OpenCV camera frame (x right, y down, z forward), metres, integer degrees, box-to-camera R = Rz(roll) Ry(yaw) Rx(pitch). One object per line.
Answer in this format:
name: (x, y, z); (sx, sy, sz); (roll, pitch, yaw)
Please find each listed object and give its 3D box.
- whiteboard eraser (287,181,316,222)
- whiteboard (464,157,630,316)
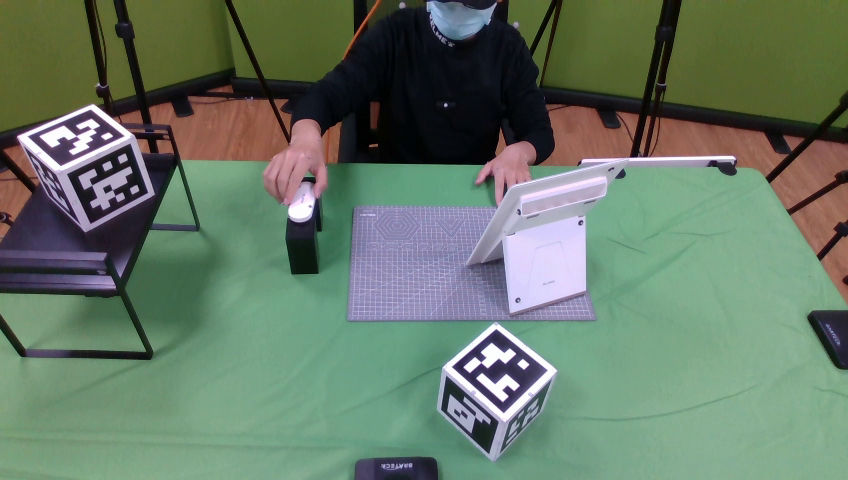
whiteboard eraser: (-0.224, -0.071, 1.112); (0.041, 0.019, 0.100); (3, 46, 0)
whiteboard: (0.224, 0.014, 1.041); (0.217, 0.306, 0.143); (-14, 68, -17)
